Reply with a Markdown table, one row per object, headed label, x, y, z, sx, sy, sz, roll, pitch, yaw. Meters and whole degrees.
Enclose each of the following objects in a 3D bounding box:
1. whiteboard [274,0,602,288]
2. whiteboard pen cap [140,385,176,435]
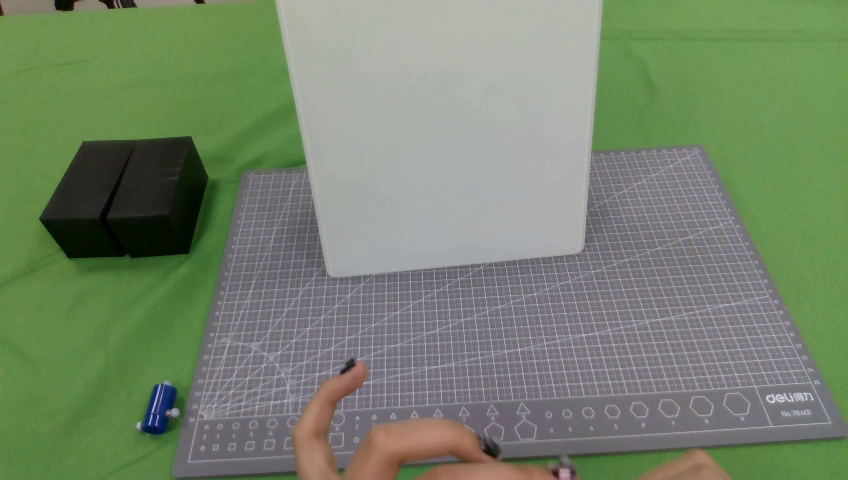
| label | x | y | z | sx | sy | sz | roll | pitch | yaw |
| --- | --- | --- | --- | --- | --- | --- | --- | --- | --- |
| whiteboard | 0.011 | -0.137 | 0.485 | 0.217 | 0.308 | 0.142 | -5 | 29 | -1 |
| whiteboard pen cap | -0.187 | 0.120 | 0.425 | 0.018 | 0.018 | 0.033 | -1 | 51 | 2 |
